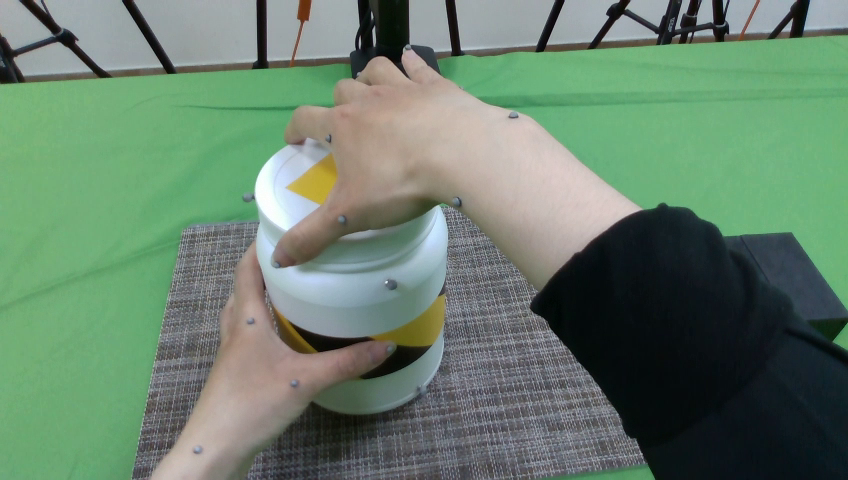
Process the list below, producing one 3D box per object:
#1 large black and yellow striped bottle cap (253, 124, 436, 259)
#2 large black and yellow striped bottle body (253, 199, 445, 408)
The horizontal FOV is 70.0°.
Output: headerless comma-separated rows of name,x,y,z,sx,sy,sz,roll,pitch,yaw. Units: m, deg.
large black and yellow striped bottle cap,-0.050,-0.035,0.387,0.115,0.019,0.114,0,45,1
large black and yellow striped bottle body,-0.051,0.025,0.448,0.131,0.185,0.129,1,45,0
